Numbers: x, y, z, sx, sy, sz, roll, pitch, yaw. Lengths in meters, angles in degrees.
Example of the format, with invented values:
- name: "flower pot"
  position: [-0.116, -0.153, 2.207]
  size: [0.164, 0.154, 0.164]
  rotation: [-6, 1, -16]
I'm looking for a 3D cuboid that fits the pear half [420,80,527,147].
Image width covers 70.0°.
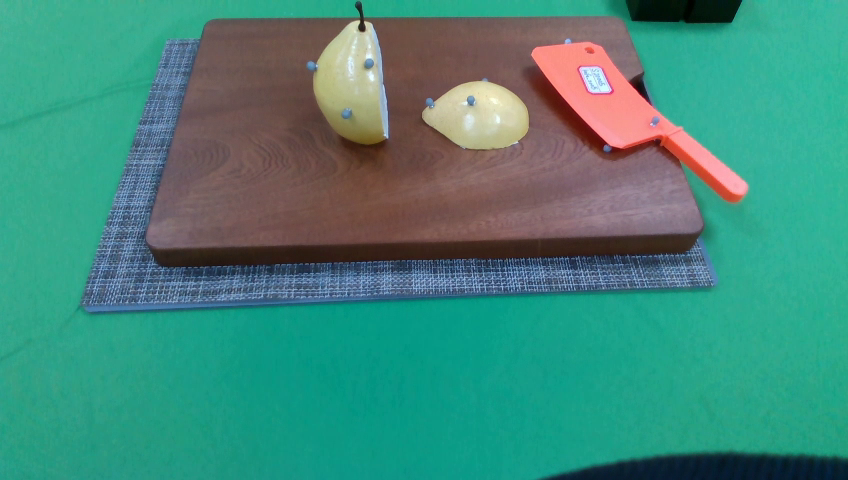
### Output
- name: "pear half"
  position: [0.041, -0.109, 0.491]
  size: [0.088, 0.031, 0.070]
  rotation: [5, 48, -2]

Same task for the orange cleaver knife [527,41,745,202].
- name: "orange cleaver knife"
  position: [0.166, -0.101, 0.496]
  size: [0.077, 0.012, 0.209]
  rotation: [-24, 61, -23]

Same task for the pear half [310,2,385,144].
- name: "pear half"
  position: [-0.058, -0.125, 0.449]
  size: [0.056, 0.111, 0.075]
  rotation: [-7, 50, -6]
